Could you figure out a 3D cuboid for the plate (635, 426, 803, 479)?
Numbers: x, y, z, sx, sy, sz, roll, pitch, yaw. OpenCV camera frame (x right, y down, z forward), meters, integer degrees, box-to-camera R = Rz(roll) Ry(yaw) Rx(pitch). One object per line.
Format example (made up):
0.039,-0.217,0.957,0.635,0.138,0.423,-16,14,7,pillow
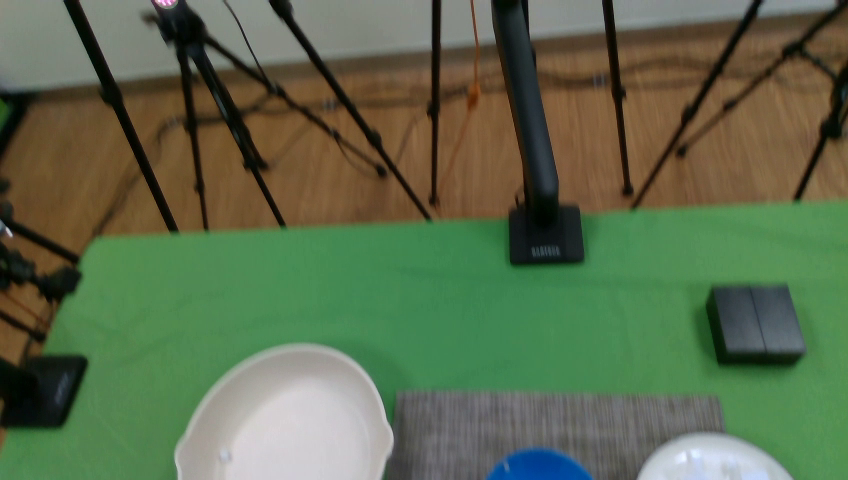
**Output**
0.356,0.331,0.726,0.207,0.039,0.205,-5,55,8,plate

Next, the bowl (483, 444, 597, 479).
0.144,0.336,0.740,0.151,0.077,0.150,-5,55,8,bowl

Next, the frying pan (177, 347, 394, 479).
-0.189,0.369,0.773,0.306,0.104,0.483,-6,46,9,frying pan
